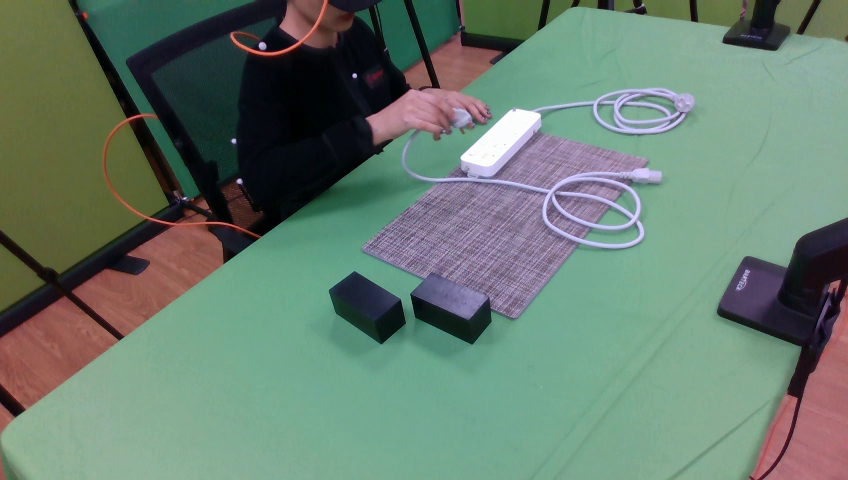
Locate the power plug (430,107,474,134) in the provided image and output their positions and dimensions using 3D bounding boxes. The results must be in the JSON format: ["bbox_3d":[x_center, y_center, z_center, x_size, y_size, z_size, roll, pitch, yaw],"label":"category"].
[{"bbox_3d":[0.053,-0.207,1.075,0.072,0.053,0.035,-20,31,16],"label":"power plug"}]

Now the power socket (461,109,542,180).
[{"bbox_3d":[0.152,-0.189,1.163,0.071,0.033,0.227,21,48,30],"label":"power socket"}]
